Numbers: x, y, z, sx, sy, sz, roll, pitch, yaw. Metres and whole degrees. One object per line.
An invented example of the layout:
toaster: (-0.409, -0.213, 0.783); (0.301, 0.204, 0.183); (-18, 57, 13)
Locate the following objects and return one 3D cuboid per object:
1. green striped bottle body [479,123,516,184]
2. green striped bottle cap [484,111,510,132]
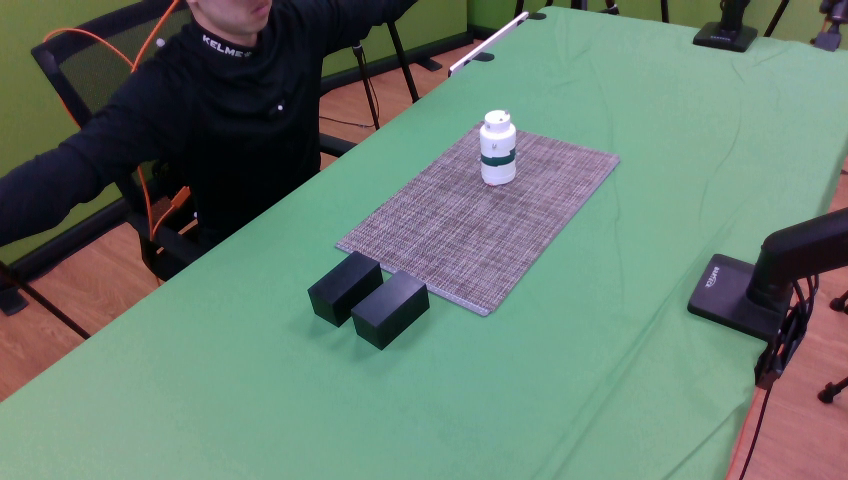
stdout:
green striped bottle body: (0.129, -0.162, 1.058); (0.063, 0.120, 0.063); (-4, 41, 4)
green striped bottle cap: (0.123, -0.201, 1.024); (0.044, 0.020, 0.044); (-3, 39, 3)
